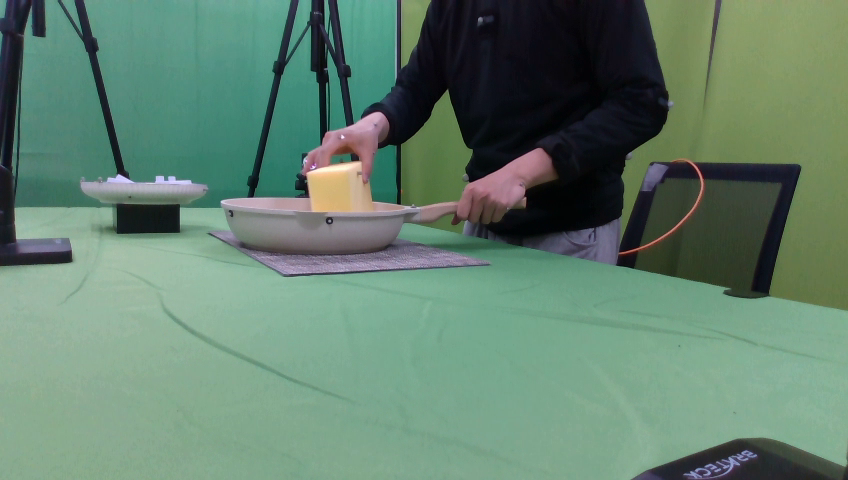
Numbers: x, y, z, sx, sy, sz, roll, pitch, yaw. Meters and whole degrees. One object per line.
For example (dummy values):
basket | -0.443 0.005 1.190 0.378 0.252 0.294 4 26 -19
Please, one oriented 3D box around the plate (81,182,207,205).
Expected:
plate | -0.504 -0.086 1.100 0.208 0.039 0.207 1 6 0

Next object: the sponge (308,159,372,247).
sponge | -0.128 -0.063 0.969 0.061 0.118 0.206 -5 12 3

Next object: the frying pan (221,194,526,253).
frying pan | -0.070 -0.043 0.984 0.489 0.102 0.306 -7 9 -5
